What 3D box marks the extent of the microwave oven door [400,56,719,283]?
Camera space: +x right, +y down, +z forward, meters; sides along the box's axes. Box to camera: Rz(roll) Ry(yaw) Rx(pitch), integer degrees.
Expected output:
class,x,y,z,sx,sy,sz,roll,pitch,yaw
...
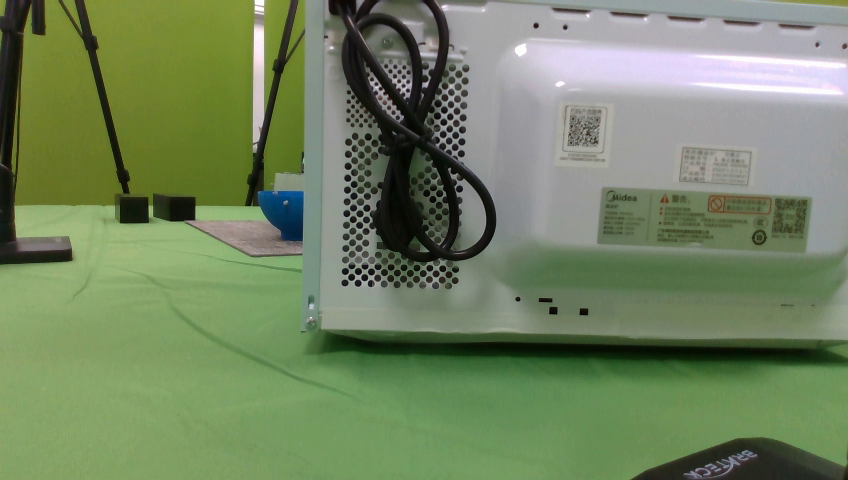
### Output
class,x,y,z,sx,sy,sz,roll,pitch,yaw
microwave oven door,0.155,-0.077,0.698,0.356,0.243,0.039,2,8,-5

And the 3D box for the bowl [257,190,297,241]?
class,x,y,z,sx,sy,sz,roll,pitch,yaw
bowl,-0.206,-0.041,1.027,0.151,0.077,0.151,3,8,0

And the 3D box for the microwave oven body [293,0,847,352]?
class,x,y,z,sx,sy,sz,roll,pitch,yaw
microwave oven body,0.122,-0.055,0.550,0.442,0.260,0.325,3,7,-5

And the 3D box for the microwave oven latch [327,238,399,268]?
class,x,y,z,sx,sy,sz,roll,pitch,yaw
microwave oven latch,-0.069,0.015,0.694,0.079,0.029,0.030,3,7,-3

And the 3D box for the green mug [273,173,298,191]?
class,x,y,z,sx,sy,sz,roll,pitch,yaw
green mug,-0.264,-0.084,1.236,0.093,0.105,0.125,0,8,-13
